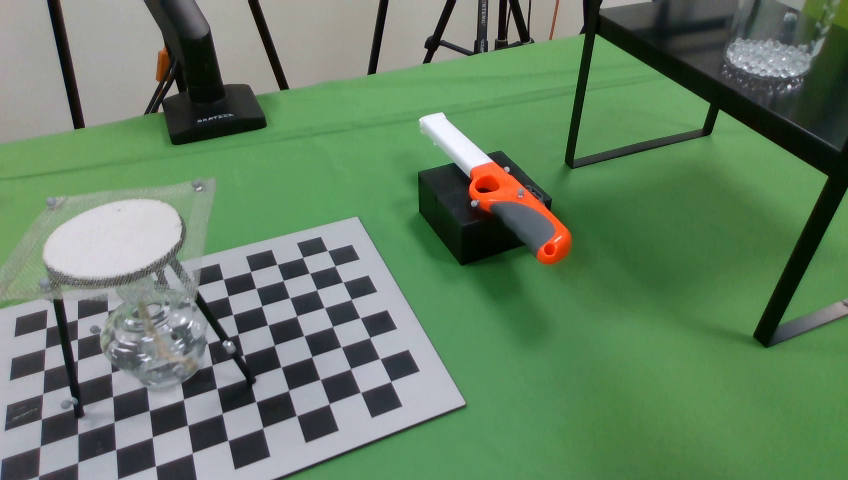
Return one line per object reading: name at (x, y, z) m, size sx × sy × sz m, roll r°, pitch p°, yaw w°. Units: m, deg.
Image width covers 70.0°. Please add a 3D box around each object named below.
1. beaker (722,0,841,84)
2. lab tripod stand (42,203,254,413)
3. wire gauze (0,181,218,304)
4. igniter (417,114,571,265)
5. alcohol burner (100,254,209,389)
beaker at (0.285, -0.182, 0.479) m, size 0.073 × 0.101 × 0.084 m, roll 22°, pitch 46°, yaw 25°
lab tripod stand at (-0.204, 0.049, 0.451) m, size 0.148 × 0.132 × 0.147 m, roll 1°, pitch 38°, yaw -1°
wire gauze at (-0.206, 0.000, 0.404) m, size 0.125 × 0.011 × 0.120 m, roll -3°, pitch 39°, yaw -6°
igniter at (0.061, -0.060, 0.599) m, size 0.057 × 0.025 × 0.273 m, roll -19°, pitch 41°, yaw -16°
alcohol burner at (-0.208, 0.057, 0.457) m, size 0.078 × 0.120 × 0.077 m, roll -1°, pitch 41°, yaw 2°
